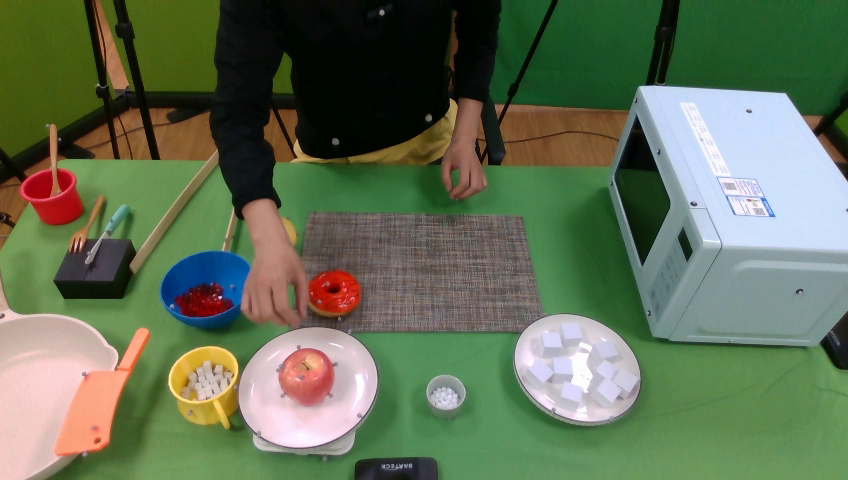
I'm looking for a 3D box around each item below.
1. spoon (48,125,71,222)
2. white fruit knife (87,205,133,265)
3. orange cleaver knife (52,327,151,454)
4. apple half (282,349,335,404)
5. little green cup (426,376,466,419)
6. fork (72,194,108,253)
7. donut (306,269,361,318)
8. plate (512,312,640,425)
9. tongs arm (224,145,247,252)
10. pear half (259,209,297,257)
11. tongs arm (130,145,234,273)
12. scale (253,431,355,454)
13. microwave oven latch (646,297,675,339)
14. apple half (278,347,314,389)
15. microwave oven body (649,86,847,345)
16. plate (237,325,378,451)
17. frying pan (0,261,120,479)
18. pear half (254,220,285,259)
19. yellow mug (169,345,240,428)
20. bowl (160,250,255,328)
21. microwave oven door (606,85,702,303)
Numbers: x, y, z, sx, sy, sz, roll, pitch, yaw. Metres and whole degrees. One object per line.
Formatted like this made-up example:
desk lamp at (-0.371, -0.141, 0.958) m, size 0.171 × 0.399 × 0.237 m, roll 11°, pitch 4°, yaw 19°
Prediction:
spoon at (-0.718, -0.131, 1.188) m, size 0.041 × 0.021 × 0.193 m, roll -3°, pitch 90°, yaw -7°
white fruit knife at (-0.584, -0.013, 1.129) m, size 0.016 × 0.027 × 0.206 m, roll -1°, pitch 31°, yaw -4°
orange cleaver knife at (-0.462, 0.212, 0.879) m, size 0.077 × 0.012 × 0.210 m, roll 7°, pitch 45°, yaw -2°
apple half at (-0.163, 0.209, 0.895) m, size 0.053 × 0.075 × 0.081 m, roll 34°, pitch 50°, yaw 22°
little green cup at (0.033, 0.248, 0.950) m, size 0.061 × 0.039 × 0.061 m, roll 2°, pitch 46°, yaw -2°
fork at (-0.634, -0.036, 1.158) m, size 0.028 × 0.019 × 0.206 m, roll -7°, pitch 32°, yaw -8°
donut at (-0.160, 0.095, 1.075) m, size 0.099 × 0.048 × 0.098 m, roll 3°, pitch 45°, yaw -3°
plate at (0.246, 0.213, 0.999) m, size 0.208 × 0.039 × 0.206 m, roll 2°, pitch 46°, yaw -2°
tongs arm at (-0.398, -0.072, 1.232) m, size 0.051 × 0.026 × 0.382 m, roll -2°, pitch 44°, yaw -2°
pear half at (-0.273, -0.024, 1.142) m, size 0.076 × 0.110 × 0.056 m, roll 27°, pitch 50°, yaw 16°
tongs arm at (-0.485, -0.077, 1.233) m, size 0.028 × 0.028 × 0.385 m, roll 6°, pitch 44°, yaw 11°
scale at (-0.175, 0.236, 0.951) m, size 0.149 × 0.032 × 0.199 m, roll 4°, pitch 45°, yaw 0°
microwave oven latch at (0.412, 0.134, 1.061) m, size 0.030 × 0.029 × 0.078 m, roll 4°, pitch 45°, yaw 1°
apple half at (-0.194, 0.192, 0.909) m, size 0.032 × 0.081 × 0.081 m, roll 32°, pitch 52°, yaw 22°
microwave oven body at (0.567, -0.053, 1.118) m, size 0.326 × 0.261 × 0.439 m, roll 2°, pitch 45°, yaw -1°
plate at (-0.174, 0.224, 0.917) m, size 0.209 × 0.038 × 0.208 m, roll 2°, pitch 46°, yaw -2°
frying pan at (-0.647, 0.164, 0.936) m, size 0.307 × 0.103 × 0.485 m, roll -19°, pitch 58°, yaw -22°
pear half at (-0.294, 0.003, 1.127) m, size 0.070 × 0.088 × 0.031 m, roll 26°, pitch 49°, yaw 16°
yellow mug at (-0.323, 0.230, 0.922) m, size 0.100 × 0.064 × 0.130 m, roll -24°, pitch 53°, yaw -25°
bowl at (-0.362, 0.098, 1.040) m, size 0.151 × 0.077 × 0.150 m, roll 2°, pitch 45°, yaw -2°
microwave oven door at (0.422, -0.094, 1.140) m, size 0.039 × 0.245 × 0.353 m, roll 2°, pitch 46°, yaw -1°
